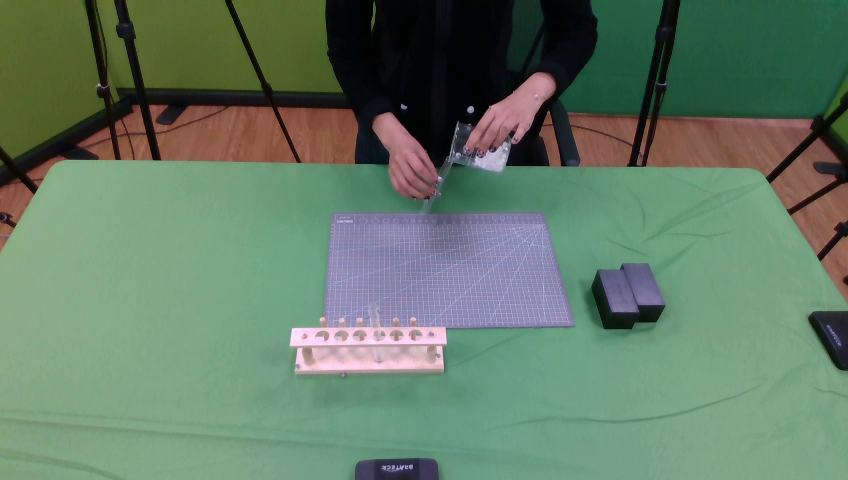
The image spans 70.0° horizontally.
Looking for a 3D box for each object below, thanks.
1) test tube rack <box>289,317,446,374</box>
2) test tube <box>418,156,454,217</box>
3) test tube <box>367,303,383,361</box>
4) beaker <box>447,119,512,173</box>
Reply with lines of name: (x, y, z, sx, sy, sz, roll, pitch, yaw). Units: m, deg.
test tube rack: (-0.089, 0.167, 0.987, 0.242, 0.085, 0.066, 0, 46, -4)
test tube: (0.020, -0.098, 1.142, 0.017, 0.151, 0.017, 16, 41, -14)
test tube: (-0.075, 0.146, 0.941, 0.017, 0.151, 0.017, 0, 49, 0)
beaker: (0.097, -0.160, 1.066, 0.100, 0.084, 0.073, 14, 52, -1)
